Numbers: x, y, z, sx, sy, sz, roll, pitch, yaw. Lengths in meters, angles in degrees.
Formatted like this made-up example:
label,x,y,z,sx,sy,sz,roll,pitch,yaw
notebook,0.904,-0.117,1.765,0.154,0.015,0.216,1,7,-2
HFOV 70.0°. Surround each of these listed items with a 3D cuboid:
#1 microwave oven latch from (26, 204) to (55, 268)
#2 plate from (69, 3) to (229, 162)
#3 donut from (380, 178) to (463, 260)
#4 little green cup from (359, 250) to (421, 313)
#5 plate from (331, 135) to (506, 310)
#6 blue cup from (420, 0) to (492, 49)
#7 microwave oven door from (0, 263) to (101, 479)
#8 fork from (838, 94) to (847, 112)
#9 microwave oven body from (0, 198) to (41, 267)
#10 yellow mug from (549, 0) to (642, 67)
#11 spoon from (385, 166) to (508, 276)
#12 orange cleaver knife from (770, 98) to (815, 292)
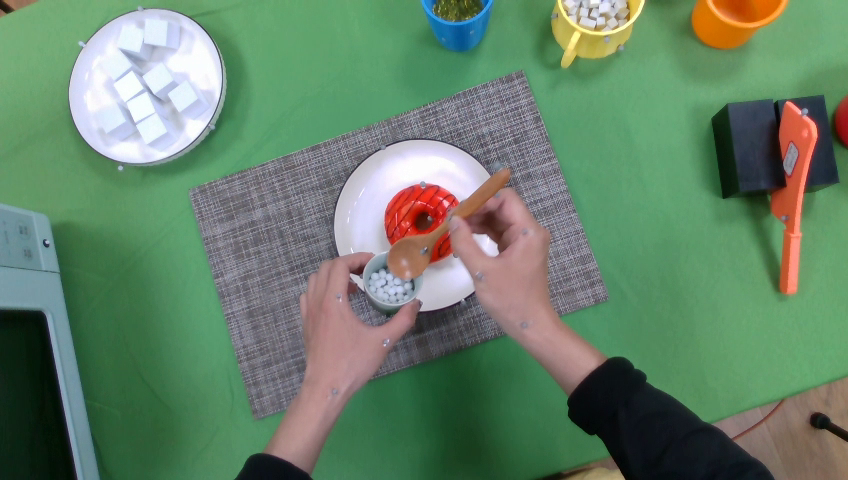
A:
label,x,y,z,sx,sy,sz,roll,pitch,yaw
microwave oven latch,-0.485,-0.003,0.753,0.030,0.029,0.079,-14,83,3
plate,-0.349,-0.199,0.780,0.207,0.039,0.207,-1,83,6
donut,-0.003,-0.024,0.713,0.099,0.048,0.099,0,86,6
little green cup,-0.035,0.044,0.623,0.061,0.039,0.061,3,62,-5
plate,-0.006,-0.020,0.723,0.209,0.038,0.208,-1,83,5
blue cup,0.040,-0.275,0.719,0.092,0.100,0.092,0,85,5
microwave oven door,-0.439,0.194,0.624,0.039,0.244,0.354,-16,82,3
fork,0.547,-0.129,0.631,0.028,0.019,0.205,-49,38,-11
microwave oven body,-0.590,0.194,0.644,0.326,0.261,0.440,-16,83,3
yellow mug,0.195,-0.266,0.721,0.099,0.064,0.131,29,88,8
spoon,0.017,-0.012,0.552,0.041,0.194,0.021,49,52,-1
orange cleaver knife,0.399,-0.046,0.668,0.012,0.077,0.212,-4,112,8
